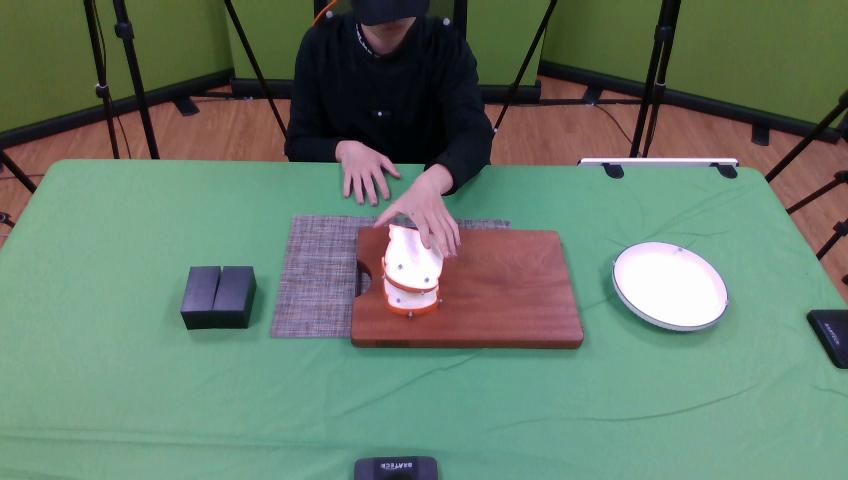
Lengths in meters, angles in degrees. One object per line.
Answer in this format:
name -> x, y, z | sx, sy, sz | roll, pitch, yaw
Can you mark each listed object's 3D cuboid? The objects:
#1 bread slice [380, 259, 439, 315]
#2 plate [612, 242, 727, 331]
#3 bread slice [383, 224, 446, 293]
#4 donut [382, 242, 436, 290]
bread slice -> -0.024, 0.079, 1.087 | 0.105, 0.019, 0.130 | -2, 45, -5
plate -> 0.455, 0.090, 1.138 | 0.209, 0.038, 0.208 | 3, 45, -2
bread slice -> -0.017, 0.034, 1.050 | 0.107, 0.018, 0.133 | 10, 48, -7
donut -> -0.026, 0.046, 1.077 | 0.099, 0.048, 0.098 | 2, 45, -2
